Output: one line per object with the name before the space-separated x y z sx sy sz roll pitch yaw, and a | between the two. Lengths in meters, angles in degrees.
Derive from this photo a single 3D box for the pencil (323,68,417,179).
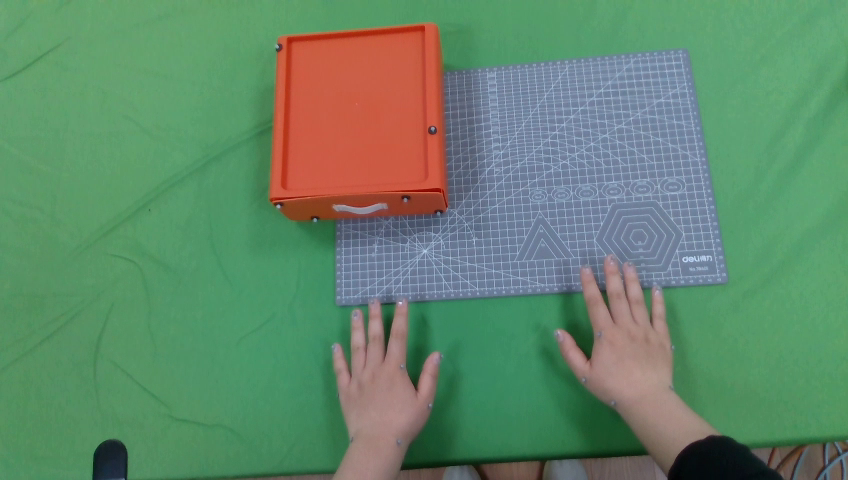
pencil | -0.068 -0.147 0.759 0.012 0.012 0.193 -38 77 -5

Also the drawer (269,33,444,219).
drawer | -0.078 -0.135 0.731 0.194 0.074 0.210 -3 73 6

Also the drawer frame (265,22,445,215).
drawer frame | -0.080 -0.141 0.731 0.201 0.083 0.212 -4 74 6
